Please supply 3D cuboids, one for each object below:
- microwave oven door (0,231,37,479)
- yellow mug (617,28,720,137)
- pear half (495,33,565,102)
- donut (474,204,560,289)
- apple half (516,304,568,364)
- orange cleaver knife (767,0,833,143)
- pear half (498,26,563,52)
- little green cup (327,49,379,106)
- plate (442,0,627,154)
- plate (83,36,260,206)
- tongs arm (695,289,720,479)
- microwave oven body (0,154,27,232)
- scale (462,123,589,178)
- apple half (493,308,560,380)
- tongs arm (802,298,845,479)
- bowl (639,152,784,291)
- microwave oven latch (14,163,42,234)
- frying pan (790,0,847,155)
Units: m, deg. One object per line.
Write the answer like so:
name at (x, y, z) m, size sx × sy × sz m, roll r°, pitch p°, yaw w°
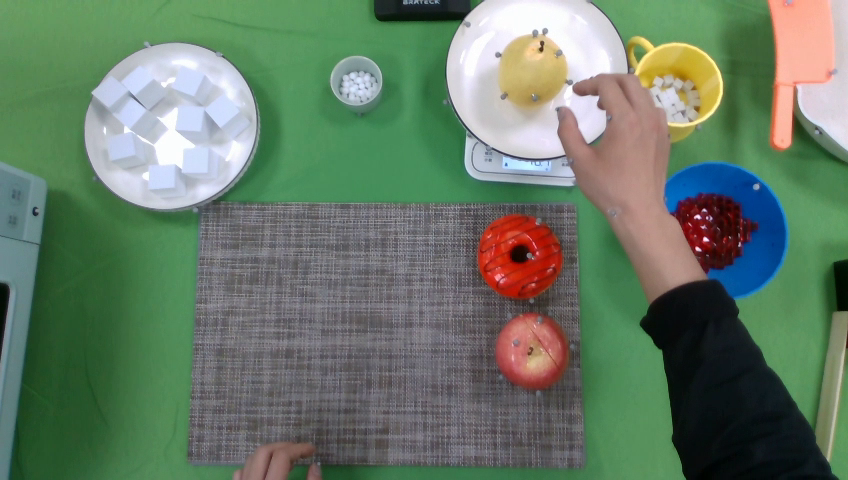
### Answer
microwave oven door at (-0.481, 0.155, 0.572) m, size 0.039 × 0.244 × 0.354 m, roll 2°, pitch 82°, yaw 2°
yellow mug at (0.274, -0.192, 0.709) m, size 0.100 × 0.064 × 0.130 m, roll -32°, pitch 82°, yaw -2°
pear half at (0.115, -0.184, 0.651) m, size 0.076 × 0.110 × 0.056 m, roll -3°, pitch 82°, yaw 4°
donut at (0.106, 0.008, 0.694) m, size 0.099 × 0.048 × 0.099 m, roll 0°, pitch 83°, yaw 3°
apple half at (0.135, 0.096, 0.666) m, size 0.033 × 0.081 × 0.081 m, roll -38°, pitch 83°, yaw 0°
orange cleaver knife at (0.414, -0.210, 0.672) m, size 0.077 × 0.012 × 0.210 m, roll 5°, pitch 83°, yaw 4°
pear half at (0.116, -0.218, 0.665) m, size 0.070 × 0.088 × 0.031 m, roll -4°, pitch 82°, yaw 3°
little green cup at (-0.082, -0.193, 0.730) m, size 0.061 × 0.039 × 0.061 m, roll 0°, pitch 82°, yaw 2°
plate at (0.125, -0.197, 0.697) m, size 0.209 × 0.038 × 0.208 m, roll 0°, pitch 83°, yaw 1°
plate at (-0.297, -0.140, 0.728) m, size 0.208 × 0.039 × 0.207 m, roll 0°, pitch 83°, yaw 1°
tongs arm at (0.336, 0.244, 0.669) m, size 0.051 × 0.026 × 0.383 m, roll 0°, pitch 84°, yaw -4°
microwave oven body at (-0.624, 0.107, 0.587) m, size 0.326 × 0.261 × 0.440 m, roll 3°, pitch 83°, yaw 1°
scale at (0.126, -0.178, 0.728) m, size 0.148 × 0.031 × 0.200 m, roll 4°, pitch 83°, yaw 2°
apple half at (0.105, 0.120, 0.665) m, size 0.053 × 0.075 × 0.080 m, roll -36°, pitch 86°, yaw 0°
tongs arm at (0.422, 0.252, 0.672) m, size 0.028 × 0.028 × 0.386 m, roll 15°, pitch 84°, yaw -5°
bowl at (0.308, -0.015, 0.680) m, size 0.151 × 0.077 × 0.151 m, roll 0°, pitch 83°, yaw 1°
microwave oven latch at (-0.465, -0.048, 0.700) m, size 0.030 × 0.029 × 0.079 m, roll 4°, pitch 83°, yaw 1°
frying pan at (0.597, -0.128, 0.676) m, size 0.307 × 0.103 × 0.485 m, roll -27°, pitch 75°, yaw -1°
